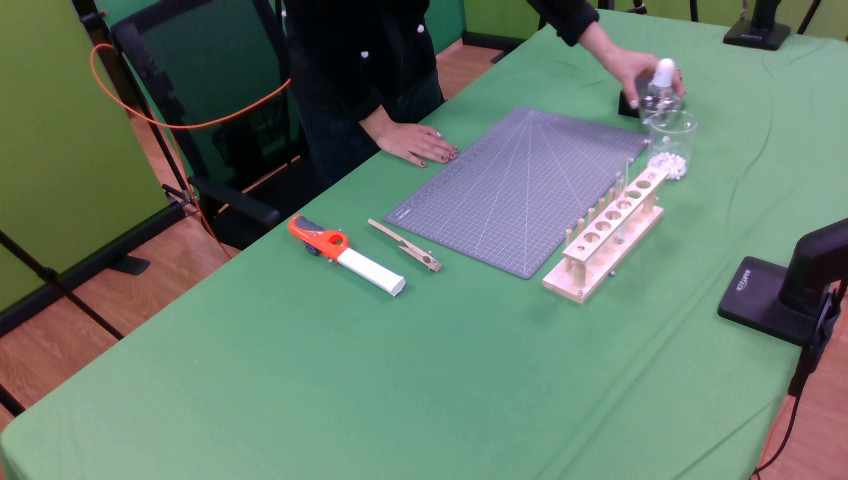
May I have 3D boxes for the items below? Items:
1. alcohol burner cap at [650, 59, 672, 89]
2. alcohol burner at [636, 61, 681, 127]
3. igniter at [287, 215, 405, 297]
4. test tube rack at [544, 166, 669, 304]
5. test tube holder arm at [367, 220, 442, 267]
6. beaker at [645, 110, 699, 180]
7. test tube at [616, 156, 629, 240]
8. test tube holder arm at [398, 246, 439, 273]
[{"bbox_3d":[0.419,-0.295,1.065,0.034,0.048,0.033,0,43,1],"label":"alcohol burner cap"},{"bbox_3d":[0.423,-0.267,1.087,0.078,0.119,0.077,-4,41,4],"label":"alcohol burner"},{"bbox_3d":[-0.137,0.019,0.980,0.274,0.025,0.057,28,62,36],"label":"igniter"},{"bbox_3d":[0.274,-0.018,0.903,0.066,0.085,0.243,26,51,35],"label":"test tube rack"},{"bbox_3d":[-0.035,0.004,0.985,0.177,0.015,0.013,32,89,40],"label":"test tube holder arm"},{"bbox_3d":[0.417,-0.160,1.032,0.083,0.101,0.074,25,51,34],"label":"beaker"},{"bbox_3d":[0.285,-0.057,0.869,0.017,0.151,0.017,-8,42,8],"label":"test tube"},{"bbox_3d":[-0.009,0.027,0.957,0.087,0.015,0.010,34,90,40],"label":"test tube holder arm"}]
